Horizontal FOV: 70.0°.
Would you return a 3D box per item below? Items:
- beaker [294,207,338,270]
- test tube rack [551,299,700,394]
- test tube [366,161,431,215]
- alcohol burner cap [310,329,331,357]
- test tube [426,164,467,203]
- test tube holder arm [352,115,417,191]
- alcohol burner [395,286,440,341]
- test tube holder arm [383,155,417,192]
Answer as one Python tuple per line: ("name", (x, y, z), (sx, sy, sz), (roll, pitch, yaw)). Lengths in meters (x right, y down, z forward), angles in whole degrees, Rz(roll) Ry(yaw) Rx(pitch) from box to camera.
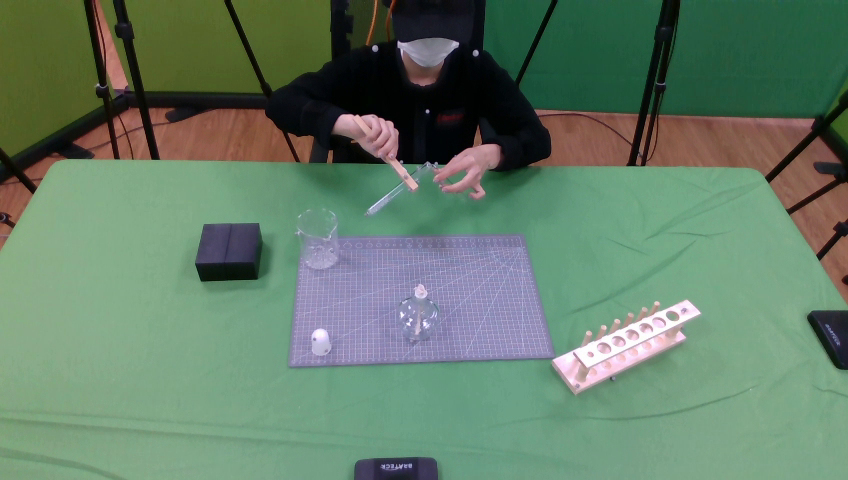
("beaker", (-0.196, 0.003, 1.123), (0.074, 0.101, 0.083), (-23, 53, -24))
("test tube rack", (0.339, 0.166, 1.021), (0.242, 0.085, 0.066), (-19, 50, -21))
("test tube", (-0.046, -0.094, 1.103), (0.150, 0.017, 0.017), (-39, 58, -12))
("alcohol burner cap", (-0.173, 0.168, 1.004), (0.034, 0.048, 0.033), (2, 46, -2))
("test tube", (0.046, -0.108, 1.179), (0.017, 0.151, 0.017), (-13, 62, 26))
("test tube holder arm", (-0.072, -0.161, 1.110), (0.015, 0.013, 0.178), (-37, 83, -15))
("alcohol burner", (-0.010, 0.116, 1.018), (0.078, 0.119, 0.077), (3, 47, -3))
("test tube holder arm", (-0.045, -0.125, 1.112), (0.015, 0.010, 0.088), (-37, 88, -15))
